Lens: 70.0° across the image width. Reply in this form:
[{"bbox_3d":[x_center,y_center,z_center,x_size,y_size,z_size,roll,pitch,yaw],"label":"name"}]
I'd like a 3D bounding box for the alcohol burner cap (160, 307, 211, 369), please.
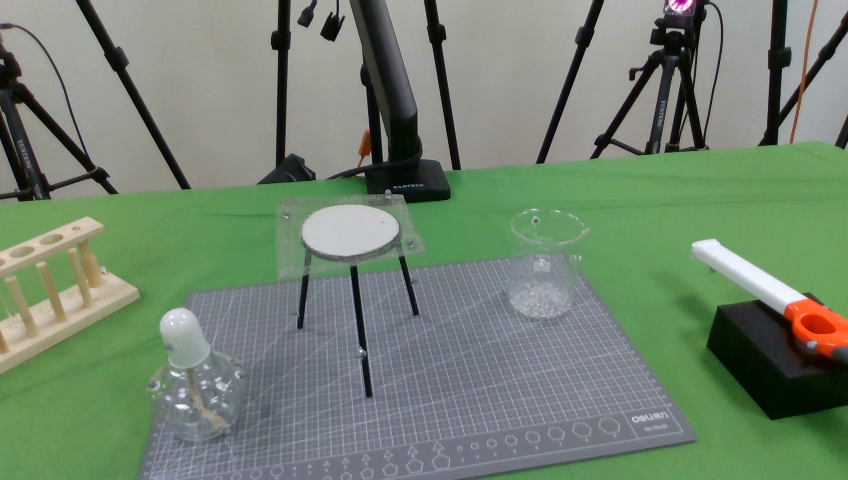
[{"bbox_3d":[-0.190,0.074,0.477,0.034,0.048,0.033,-1,36,1],"label":"alcohol burner cap"}]

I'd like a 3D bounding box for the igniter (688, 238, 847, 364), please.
[{"bbox_3d":[0.342,0.066,0.546,0.057,0.025,0.273,-10,29,-15],"label":"igniter"}]

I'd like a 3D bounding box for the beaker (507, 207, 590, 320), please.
[{"bbox_3d":[0.126,0.026,0.632,0.084,0.101,0.073,-2,32,-2],"label":"beaker"}]

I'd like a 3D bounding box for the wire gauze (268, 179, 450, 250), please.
[{"bbox_3d":[-0.059,-0.023,0.522,0.125,0.011,0.120,-11,29,-30],"label":"wire gauze"}]

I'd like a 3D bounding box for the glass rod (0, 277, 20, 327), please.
[{"bbox_3d":[-0.411,0.006,0.565,0.008,0.201,0.008,3,33,-2],"label":"glass rod"}]

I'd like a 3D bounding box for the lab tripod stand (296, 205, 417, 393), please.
[{"bbox_3d":[-0.063,0.046,0.569,0.148,0.132,0.147,1,33,0],"label":"lab tripod stand"}]

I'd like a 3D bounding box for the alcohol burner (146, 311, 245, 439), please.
[{"bbox_3d":[-0.189,0.104,0.496,0.078,0.120,0.077,1,31,0],"label":"alcohol burner"}]

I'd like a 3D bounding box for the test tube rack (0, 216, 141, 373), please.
[{"bbox_3d":[-0.414,0.070,0.589,0.066,0.086,0.242,21,37,30],"label":"test tube rack"}]
